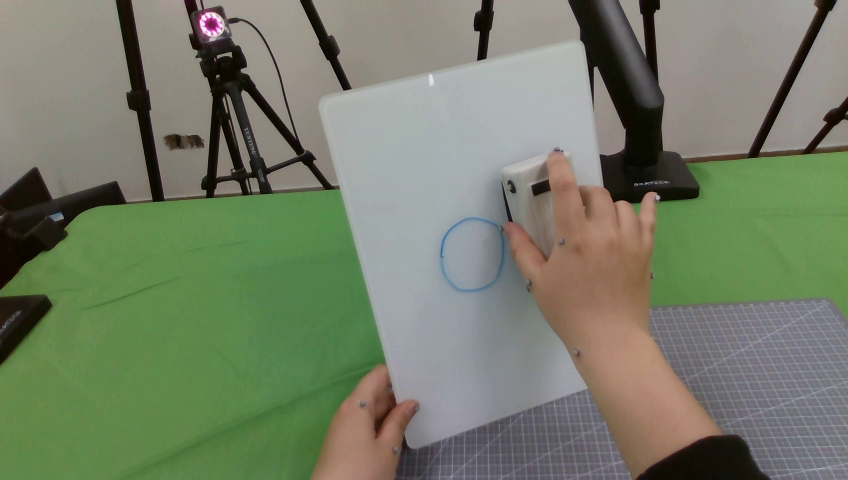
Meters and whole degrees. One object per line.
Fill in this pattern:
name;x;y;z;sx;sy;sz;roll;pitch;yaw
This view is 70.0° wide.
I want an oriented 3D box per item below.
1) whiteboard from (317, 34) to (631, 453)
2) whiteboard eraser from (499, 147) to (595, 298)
whiteboard;0.041;-0.005;0.559;0.217;0.307;0.143;-16;16;-10
whiteboard eraser;0.097;-0.014;0.483;0.056;0.113;0.041;-18;16;-11
